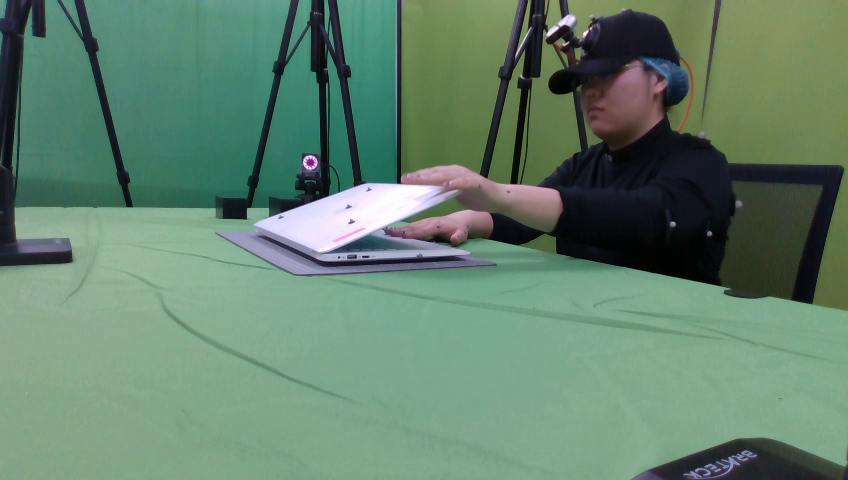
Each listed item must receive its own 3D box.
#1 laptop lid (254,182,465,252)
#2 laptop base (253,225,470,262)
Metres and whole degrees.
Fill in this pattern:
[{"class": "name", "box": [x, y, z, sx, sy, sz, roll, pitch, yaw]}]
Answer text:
[{"class": "laptop lid", "box": [-0.120, -0.048, 0.960, 0.242, 0.013, 0.355, -23, 18, -24]}, {"class": "laptop base", "box": [-0.117, 0.005, 0.971, 0.237, 0.023, 0.352, 3, 6, -30]}]
